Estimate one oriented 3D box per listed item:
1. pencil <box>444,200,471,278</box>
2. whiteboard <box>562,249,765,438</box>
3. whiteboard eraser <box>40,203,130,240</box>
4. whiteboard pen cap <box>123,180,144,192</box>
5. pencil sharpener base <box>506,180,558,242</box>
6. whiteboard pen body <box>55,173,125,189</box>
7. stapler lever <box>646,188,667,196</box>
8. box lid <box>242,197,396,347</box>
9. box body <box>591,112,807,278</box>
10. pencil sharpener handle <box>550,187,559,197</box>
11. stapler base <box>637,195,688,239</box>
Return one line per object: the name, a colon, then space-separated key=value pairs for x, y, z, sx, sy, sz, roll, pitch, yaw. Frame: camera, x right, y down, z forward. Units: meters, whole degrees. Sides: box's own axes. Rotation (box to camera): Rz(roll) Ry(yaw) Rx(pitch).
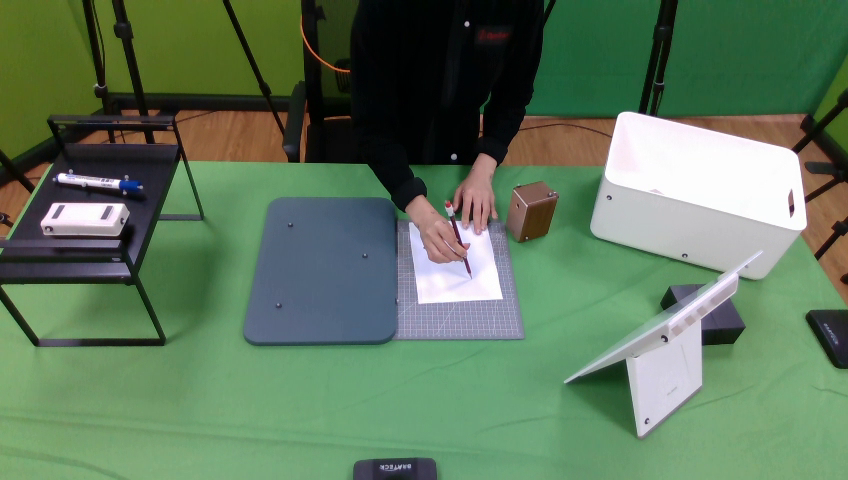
pencil: x=0.063 y=0.003 z=1.080 sx=0.012 sy=0.195 sz=0.012 roll=-11 pitch=42 yaw=10
whiteboard: x=0.386 y=0.175 z=0.905 sx=0.217 sy=0.306 sz=0.143 roll=-26 pitch=72 yaw=-26
whiteboard eraser: x=-0.513 y=-0.028 z=0.922 sx=0.113 sy=0.042 sz=0.055 roll=1 pitch=48 yaw=-3
whiteboard pen cap: x=-0.479 y=-0.089 z=0.993 sx=0.033 sy=0.018 sz=0.018 roll=7 pitch=46 yaw=14
pencil sharpener base: x=0.216 y=-0.058 z=1.211 sx=0.077 sy=0.107 sz=0.061 roll=-16 pitch=49 yaw=-19
whiteboard pen body: x=-0.539 y=-0.095 z=0.998 sx=0.141 sy=0.017 sz=0.017 roll=6 pitch=46 yaw=6
stapler lever: x=0.507 y=-0.075 z=1.262 sx=0.027 sy=0.040 sz=0.117 roll=-14 pitch=46 yaw=-19
box lid: x=-0.186 y=0.046 z=1.147 sx=0.263 sy=0.015 sz=0.369 roll=0 pitch=46 yaw=-3
box body: x=0.540 y=-0.092 z=1.229 sx=0.363 sy=0.161 sz=0.253 roll=16 pitch=47 yaw=11
pencil sharpener handle: x=0.261 y=-0.084 z=1.221 sx=0.031 sy=0.068 sz=0.036 roll=-16 pitch=65 yaw=-19
stapler base: x=0.507 y=-0.055 z=1.280 sx=0.041 sy=0.024 sz=0.129 roll=-14 pitch=47 yaw=-19
